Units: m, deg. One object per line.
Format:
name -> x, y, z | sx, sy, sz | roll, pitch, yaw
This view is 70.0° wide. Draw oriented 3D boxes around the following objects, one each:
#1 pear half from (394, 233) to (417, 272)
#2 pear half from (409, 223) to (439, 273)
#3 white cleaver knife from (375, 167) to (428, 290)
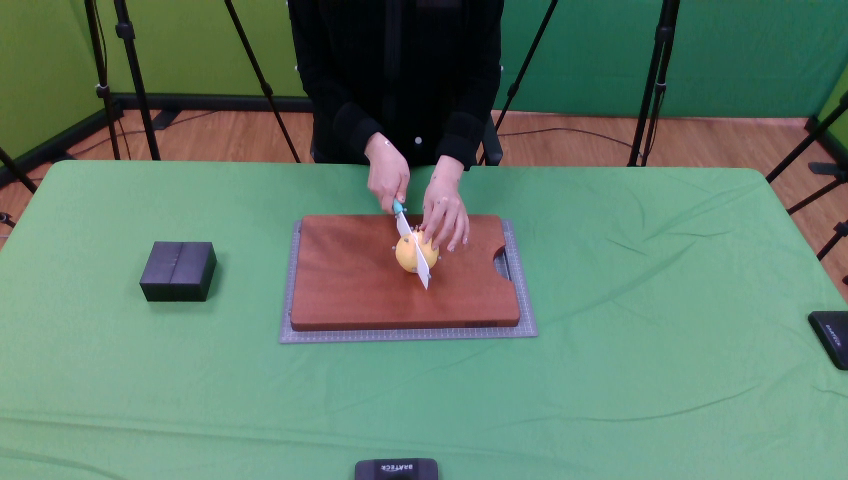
pear half -> -0.036, 0.022, 1.088 | 0.031, 0.088, 0.070 | -21, 56, -17
pear half -> -0.001, 0.006, 1.092 | 0.056, 0.110, 0.076 | -18, 55, -21
white cleaver knife -> -0.044, -0.028, 1.116 | 0.021, 0.066, 0.284 | -11, 51, -17
